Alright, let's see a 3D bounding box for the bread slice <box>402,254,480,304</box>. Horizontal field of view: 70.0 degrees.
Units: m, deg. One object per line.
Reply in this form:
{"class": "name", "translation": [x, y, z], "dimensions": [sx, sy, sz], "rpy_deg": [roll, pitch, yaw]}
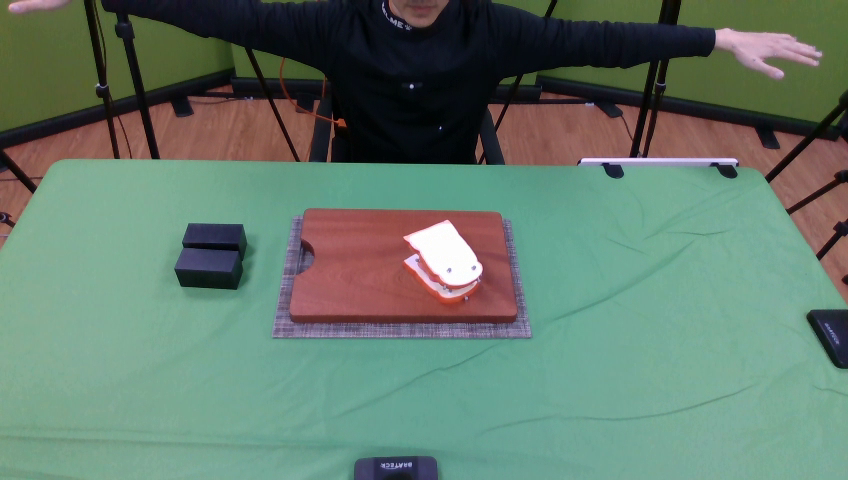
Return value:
{"class": "bread slice", "translation": [0.040, 0.058, 1.106], "dimensions": [0.105, 0.019, 0.131], "rpy_deg": [-29, 54, -25]}

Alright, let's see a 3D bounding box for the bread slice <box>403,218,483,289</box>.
{"class": "bread slice", "translation": [0.041, 0.027, 1.074], "dimensions": [0.107, 0.018, 0.133], "rpy_deg": [-25, 66, -35]}
